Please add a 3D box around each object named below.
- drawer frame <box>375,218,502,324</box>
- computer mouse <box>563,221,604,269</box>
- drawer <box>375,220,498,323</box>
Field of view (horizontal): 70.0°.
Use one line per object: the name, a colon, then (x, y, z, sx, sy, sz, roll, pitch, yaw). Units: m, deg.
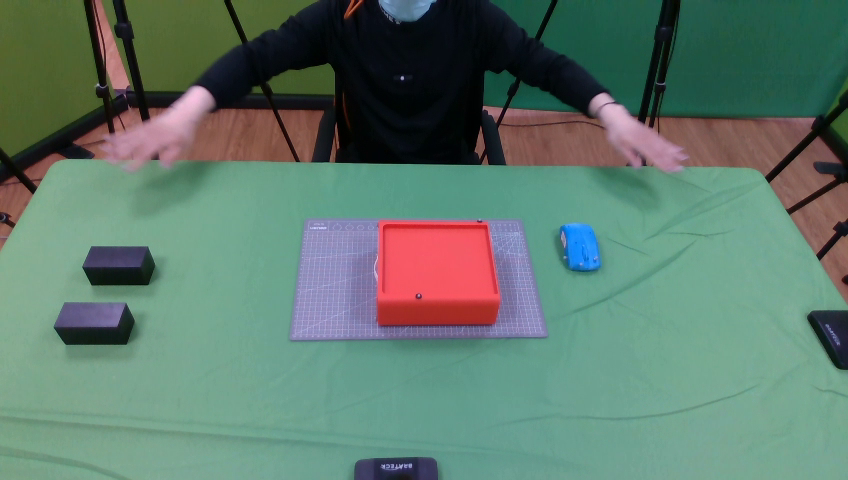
drawer frame: (0.020, 0.053, 1.097, 0.214, 0.083, 0.200, 0, 46, -4)
computer mouse: (0.315, 0.006, 1.196, 0.063, 0.041, 0.116, 1, 51, -4)
drawer: (0.017, 0.054, 1.098, 0.212, 0.073, 0.193, 1, 46, -4)
